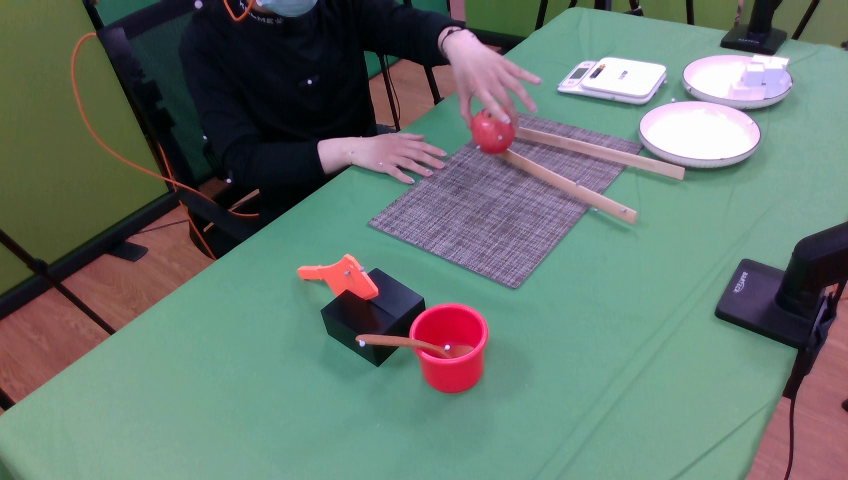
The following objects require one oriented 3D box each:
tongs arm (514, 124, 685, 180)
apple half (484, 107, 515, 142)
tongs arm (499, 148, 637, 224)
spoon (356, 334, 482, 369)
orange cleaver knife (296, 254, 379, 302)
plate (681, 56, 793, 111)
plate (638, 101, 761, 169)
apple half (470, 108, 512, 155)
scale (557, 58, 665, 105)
[{"bbox_3d":[0.287,-0.170,1.124,0.384,0.028,0.028,21,52,29],"label":"tongs arm"},{"bbox_3d":[0.140,-0.205,1.082,0.033,0.081,0.080,-33,47,-24],"label":"apple half"},{"bbox_3d":[0.228,-0.128,1.081,0.051,0.026,0.381,-33,46,-26],"label":"tongs arm"},{"bbox_3d":[-0.001,0.130,0.731,0.195,0.021,0.041,21,28,-39],"label":"spoon"},{"bbox_3d":[-0.129,0.059,0.874,0.012,0.077,0.210,-39,16,-30],"label":"orange cleaver knife"},{"bbox_3d":[0.636,-0.317,1.239,0.207,0.039,0.206,-4,40,4],"label":"plate"},{"bbox_3d":[0.500,-0.189,1.111,0.209,0.038,0.208,-4,41,4],"label":"plate"},{"bbox_3d":[0.111,-0.186,1.065,0.053,0.075,0.080,-34,49,-23],"label":"apple half"},{"bbox_3d":[0.407,-0.348,1.314,0.199,0.032,0.149,19,47,28],"label":"scale"}]
